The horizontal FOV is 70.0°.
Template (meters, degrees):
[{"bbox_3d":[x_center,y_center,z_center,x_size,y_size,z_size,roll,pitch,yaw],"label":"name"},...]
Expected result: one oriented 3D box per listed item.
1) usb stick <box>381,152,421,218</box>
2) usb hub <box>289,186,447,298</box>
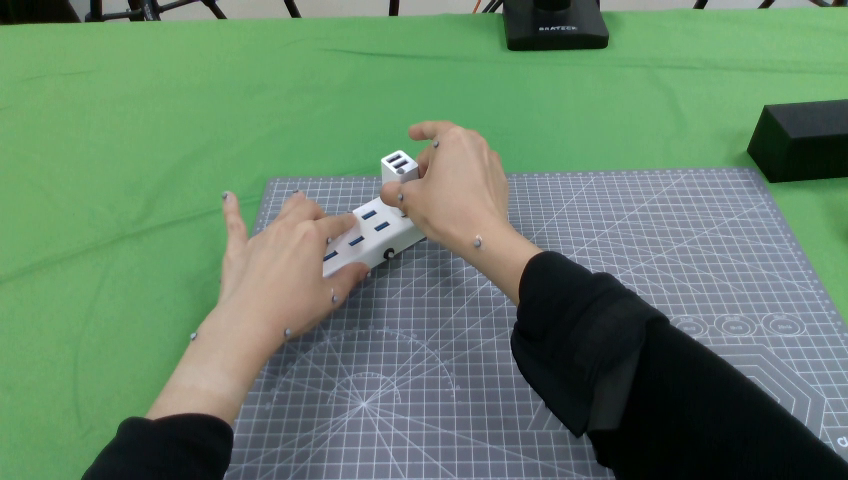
[{"bbox_3d":[-0.018,-0.039,0.483,0.021,0.060,0.027,-33,52,-24],"label":"usb stick"},{"bbox_3d":[-0.044,-0.004,0.495,0.125,0.025,0.049,-30,50,-25],"label":"usb hub"}]
